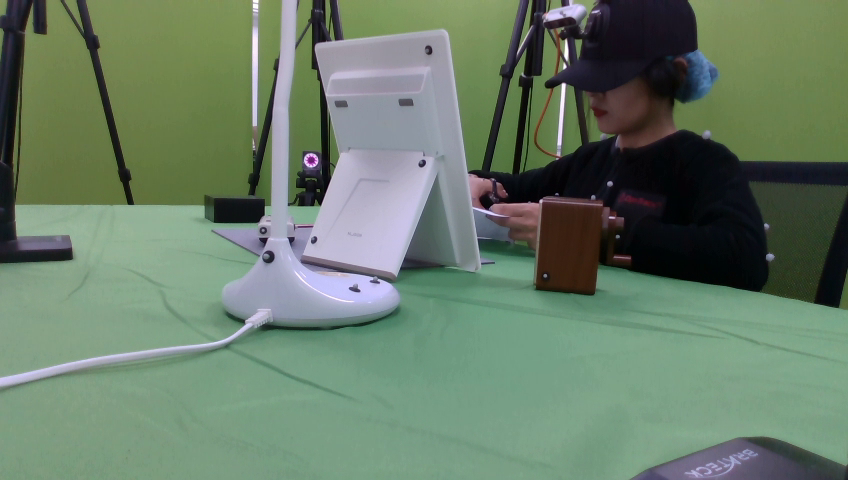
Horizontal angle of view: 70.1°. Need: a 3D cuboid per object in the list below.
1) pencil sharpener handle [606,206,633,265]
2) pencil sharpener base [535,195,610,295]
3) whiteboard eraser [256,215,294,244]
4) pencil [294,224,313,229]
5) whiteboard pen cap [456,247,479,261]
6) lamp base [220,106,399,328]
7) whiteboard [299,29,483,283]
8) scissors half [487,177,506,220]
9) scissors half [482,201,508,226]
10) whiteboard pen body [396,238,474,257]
[{"bbox_3d":[0.223,-0.004,0.683,0.030,0.068,0.036,5,21,16],"label":"pencil sharpener handle"},{"bbox_3d":[0.172,0.005,0.695,0.076,0.107,0.061,5,7,16],"label":"pencil sharpener base"},{"bbox_3d":[-0.232,-0.016,0.951,0.056,0.042,0.112,2,7,-12],"label":"whiteboard eraser"},{"bbox_3d":[-0.221,-0.028,1.211,0.195,0.012,0.012,-5,10,-34],"label":"pencil"},{"bbox_3d":[0.060,0.020,0.851,0.033,0.018,0.018,10,10,37],"label":"whiteboard pen cap"},{"bbox_3d":[-0.102,-0.023,0.531,0.160,0.180,0.179,4,10,10],"label":"lamp base"},{"bbox_3d":[-0.074,-0.082,0.742,0.216,0.305,0.144,9,30,38],"label":"whiteboard"},{"bbox_3d":[0.138,-0.078,1.140,0.013,0.040,0.175,4,29,-6],"label":"scissors half"},{"bbox_3d":[0.135,-0.054,1.144,0.013,0.040,0.175,8,-8,-7],"label":"scissors half"},{"bbox_3d":[0.014,0.012,0.886,0.140,0.017,0.017,9,10,38],"label":"whiteboard pen body"}]
